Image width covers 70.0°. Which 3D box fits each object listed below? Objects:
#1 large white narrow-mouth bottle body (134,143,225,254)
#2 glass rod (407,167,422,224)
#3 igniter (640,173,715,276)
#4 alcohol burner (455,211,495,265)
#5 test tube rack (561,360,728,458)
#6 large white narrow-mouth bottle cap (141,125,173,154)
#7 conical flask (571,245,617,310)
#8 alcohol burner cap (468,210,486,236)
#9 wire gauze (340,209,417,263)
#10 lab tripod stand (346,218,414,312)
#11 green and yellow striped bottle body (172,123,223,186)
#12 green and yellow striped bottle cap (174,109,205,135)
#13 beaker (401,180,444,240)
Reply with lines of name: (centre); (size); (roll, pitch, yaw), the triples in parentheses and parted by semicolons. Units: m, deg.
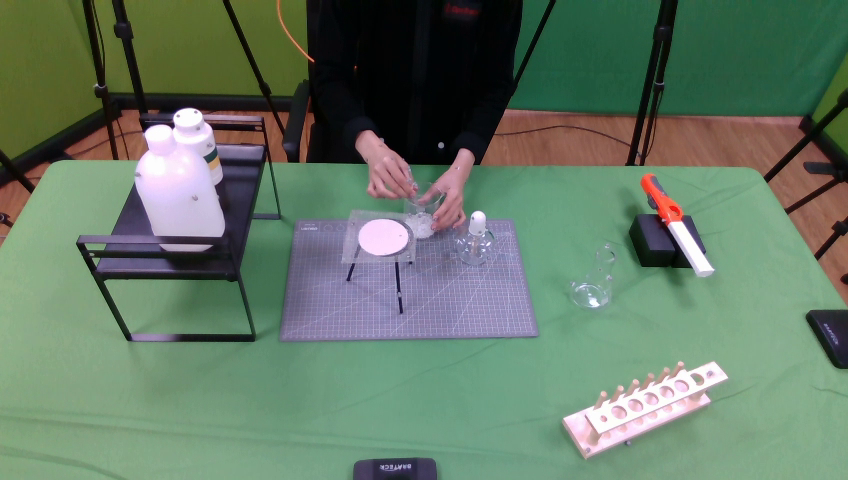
large white narrow-mouth bottle body: (-0.358, -0.075, 0.875); (0.102, 0.195, 0.101); (1, 47, -1)
glass rod: (-0.017, -0.079, 1.133); (0.008, 0.201, 0.008); (-3, 62, 5)
igniter: (0.495, -0.039, 1.204); (0.057, 0.025, 0.274); (-2, 47, -12)
alcohol burner: (0.097, -0.010, 1.147); (0.078, 0.120, 0.077); (1, 47, -1)
test tube rack: (0.341, 0.247, 0.940); (0.243, 0.085, 0.066); (-15, 49, -18)
large white narrow-mouth bottle cap: (-0.356, -0.134, 0.810); (0.038, 0.024, 0.037); (1, 47, -1)
conical flask: (0.313, 0.064, 1.089); (0.075, 0.122, 0.075); (2, 46, -2)
alcohol burner cap: (0.099, -0.034, 1.119); (0.034, 0.048, 0.033); (0, 53, 0)
wire gauze: (-0.074, -0.007, 1.023); (0.121, 0.011, 0.124); (3, 46, 0)
lab tripod stand: (-0.070, 0.037, 1.075); (0.148, 0.132, 0.147); (1, 47, -1)
green and yellow striped bottle body: (-0.373, -0.148, 0.994); (0.063, 0.120, 0.063); (2, 46, -2)
green and yellow striped bottle cap: (-0.369, -0.186, 0.954); (0.045, 0.020, 0.045); (3, 50, -3)
beaker: (-0.005, -0.056, 1.194); (0.084, 0.101, 0.073); (-7, 48, -11)
